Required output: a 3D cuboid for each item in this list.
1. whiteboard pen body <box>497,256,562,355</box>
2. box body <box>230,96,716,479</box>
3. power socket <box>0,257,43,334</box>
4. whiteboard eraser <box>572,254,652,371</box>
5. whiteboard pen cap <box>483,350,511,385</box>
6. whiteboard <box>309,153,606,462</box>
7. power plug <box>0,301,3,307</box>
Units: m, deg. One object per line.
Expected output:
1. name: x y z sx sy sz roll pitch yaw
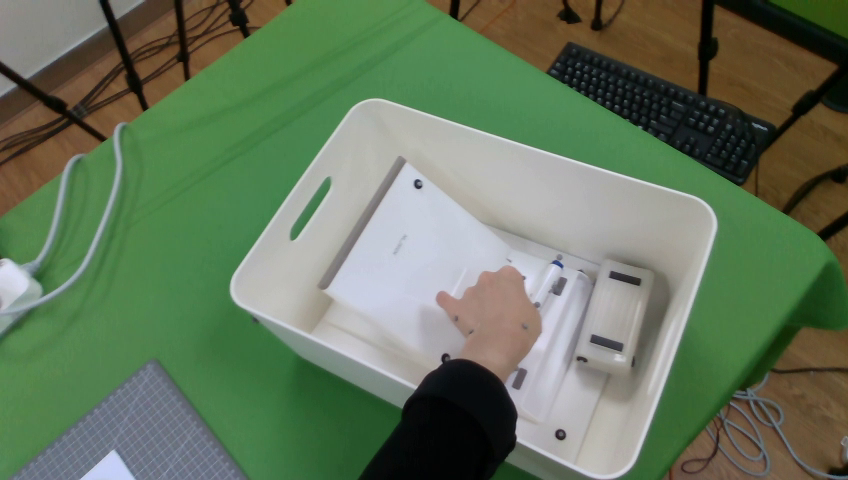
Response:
1. whiteboard pen body: 0.100 0.076 0.603 0.017 0.017 0.140 26 71 21
2. box body: 0.046 0.046 0.587 0.362 0.162 0.253 21 66 19
3. power socket: -0.555 0.112 0.711 0.071 0.033 0.226 35 70 23
4. whiteboard eraser: 0.189 0.072 0.605 0.055 0.042 0.112 13 65 23
5. whiteboard pen cap: 0.071 0.122 0.584 0.018 0.018 0.033 23 64 20
6. whiteboard: 0.040 0.043 0.601 0.304 0.145 0.216 21 64 20
7. power plug: -0.502 0.081 0.695 0.035 0.053 0.072 -38 69 -13
